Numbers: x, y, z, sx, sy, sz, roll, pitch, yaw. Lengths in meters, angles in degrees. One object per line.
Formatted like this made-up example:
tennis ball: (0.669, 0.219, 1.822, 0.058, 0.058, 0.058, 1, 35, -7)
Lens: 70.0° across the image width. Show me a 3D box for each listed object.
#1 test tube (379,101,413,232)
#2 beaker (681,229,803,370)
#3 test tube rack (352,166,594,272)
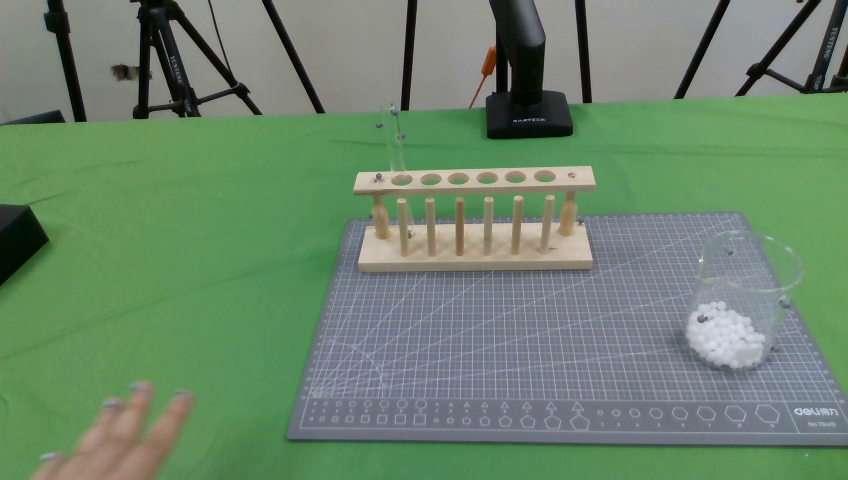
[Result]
test tube: (-0.027, -0.070, 0.620, 0.017, 0.151, 0.017, -5, 36, 4)
beaker: (0.256, 0.053, 0.504, 0.084, 0.101, 0.073, -13, 39, -8)
test tube rack: (0.050, -0.021, 0.630, 0.242, 0.086, 0.066, -1, 39, 5)
